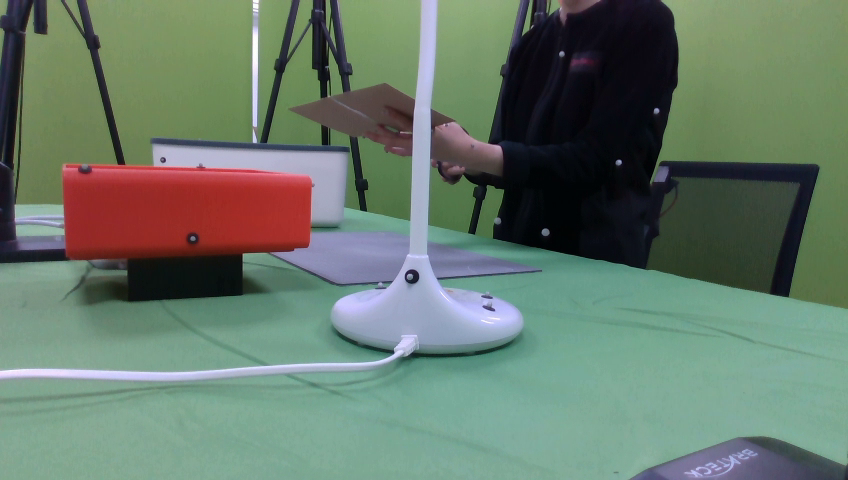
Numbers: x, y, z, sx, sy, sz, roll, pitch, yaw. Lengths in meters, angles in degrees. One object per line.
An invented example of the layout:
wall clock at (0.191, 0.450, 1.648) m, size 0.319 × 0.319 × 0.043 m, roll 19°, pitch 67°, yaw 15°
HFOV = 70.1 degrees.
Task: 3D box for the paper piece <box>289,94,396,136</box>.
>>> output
paper piece at (-0.129, -0.196, 0.968) m, size 0.136 × 0.004 × 0.134 m, roll 18°, pitch -9°, yaw -38°

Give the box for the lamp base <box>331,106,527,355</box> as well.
lamp base at (0.006, -0.012, 0.478) m, size 0.161 × 0.180 × 0.179 m, roll 2°, pitch 10°, yaw 2°

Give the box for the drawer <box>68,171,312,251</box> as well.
drawer at (-0.247, -0.036, 0.629) m, size 0.213 × 0.073 × 0.193 m, roll -2°, pitch 9°, yaw -30°

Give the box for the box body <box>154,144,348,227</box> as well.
box body at (-0.357, -0.119, 1.264) m, size 0.365 × 0.160 × 0.253 m, roll 0°, pitch 7°, yaw -18°

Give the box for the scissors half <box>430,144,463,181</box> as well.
scissors half at (0.009, -0.153, 1.007) m, size 0.012 × 0.040 × 0.176 m, roll 9°, pitch -25°, yaw 48°

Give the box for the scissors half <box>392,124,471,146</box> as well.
scissors half at (0.015, -0.176, 1.009) m, size 0.176 × 0.040 × 0.013 m, roll -8°, pitch 7°, yaw -42°

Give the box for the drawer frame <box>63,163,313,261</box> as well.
drawer frame at (-0.248, -0.036, 0.626) m, size 0.215 × 0.082 × 0.200 m, roll -3°, pitch 9°, yaw -31°

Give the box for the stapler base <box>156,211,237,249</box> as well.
stapler base at (-0.227, -0.017, 0.624) m, size 0.041 × 0.024 × 0.130 m, roll 18°, pitch 10°, yaw -2°

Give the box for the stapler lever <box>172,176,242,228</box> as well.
stapler lever at (-0.217, -0.041, 0.618) m, size 0.027 × 0.040 × 0.118 m, roll 18°, pitch 11°, yaw -2°

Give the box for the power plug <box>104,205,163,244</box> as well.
power plug at (-0.390, -0.021, 0.815) m, size 0.073 × 0.052 × 0.035 m, roll -1°, pitch 7°, yaw -27°

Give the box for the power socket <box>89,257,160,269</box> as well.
power socket at (-0.409, 0.004, 0.793) m, size 0.072 × 0.032 × 0.225 m, roll -2°, pitch 8°, yaw -38°

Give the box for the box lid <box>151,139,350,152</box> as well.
box lid at (-0.352, -0.191, 1.256) m, size 0.373 × 0.015 × 0.262 m, roll 0°, pitch 8°, yaw -18°

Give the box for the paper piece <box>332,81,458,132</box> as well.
paper piece at (-0.043, -0.189, 0.869) m, size 0.139 × 0.008 × 0.135 m, roll 22°, pitch -8°, yaw -39°
